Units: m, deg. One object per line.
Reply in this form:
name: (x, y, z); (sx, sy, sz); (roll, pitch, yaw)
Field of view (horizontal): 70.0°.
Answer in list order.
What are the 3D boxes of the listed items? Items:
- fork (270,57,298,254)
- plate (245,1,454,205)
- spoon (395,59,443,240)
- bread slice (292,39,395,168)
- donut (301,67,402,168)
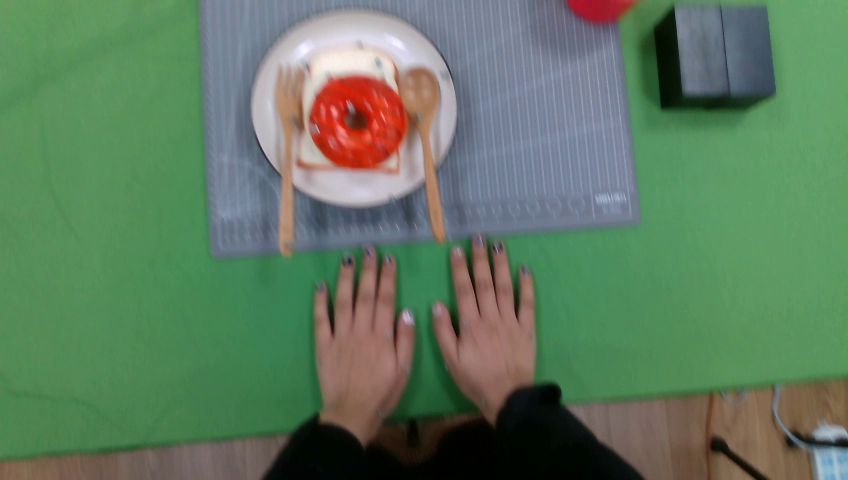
fork: (-0.139, -0.087, 0.600); (0.028, 0.018, 0.206); (2, 73, -18)
plate: (-0.074, -0.136, 0.620); (0.209, 0.038, 0.208); (0, 85, -4)
spoon: (-0.001, -0.093, 0.607); (0.041, 0.022, 0.192); (-7, 73, 0)
bread slice: (-0.081, -0.141, 0.622); (0.105, 0.019, 0.131); (1, 86, -5)
donut: (-0.070, -0.119, 0.592); (0.099, 0.048, 0.099); (0, 89, -7)
